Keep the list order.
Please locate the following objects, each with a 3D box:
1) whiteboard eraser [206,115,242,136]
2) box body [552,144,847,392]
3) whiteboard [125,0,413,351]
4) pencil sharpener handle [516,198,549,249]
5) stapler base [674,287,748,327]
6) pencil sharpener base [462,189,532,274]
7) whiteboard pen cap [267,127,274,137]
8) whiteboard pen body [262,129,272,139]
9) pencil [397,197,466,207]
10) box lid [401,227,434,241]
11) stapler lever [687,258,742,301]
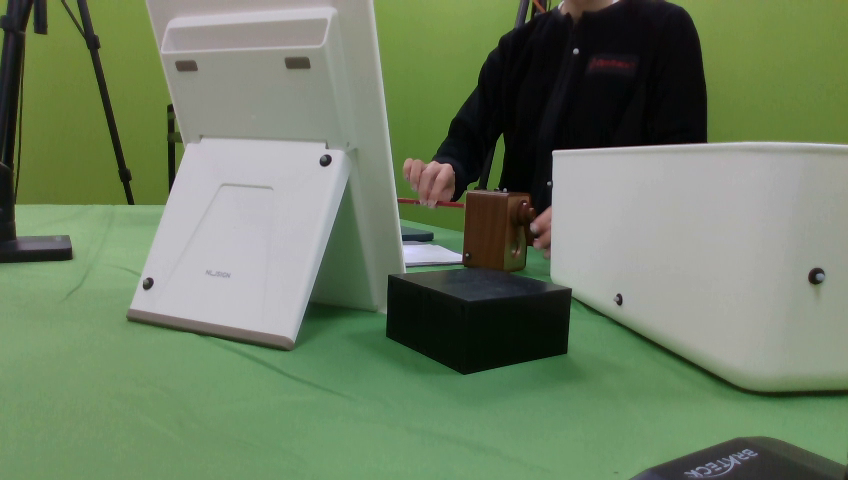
[{"bbox_3d":[-0.438,-0.249,1.320,0.056,0.042,0.112,-3,9,-30],"label":"whiteboard eraser"},{"bbox_3d":[0.290,0.002,0.549,0.255,0.160,0.363,2,7,-10],"label":"box body"},{"bbox_3d":[-0.151,-0.050,0.471,0.216,0.305,0.144,6,27,24],"label":"whiteboard"},{"bbox_3d":[0.144,-0.020,0.788,0.030,0.068,0.036,9,32,39],"label":"pencil sharpener handle"},{"bbox_3d":[0.281,0.061,0.586,0.041,0.024,0.131,11,9,37],"label":"stapler base"},{"bbox_3d":[0.101,-0.013,0.817,0.076,0.107,0.062,9,10,39],"label":"pencil sharpener base"},{"bbox_3d":[-0.340,-0.239,1.337,0.018,0.018,0.033,1,-1,-15],"label":"whiteboard pen cap"},{"bbox_3d":[-0.361,-0.245,1.393,0.017,0.017,0.140,0,5,-20],"label":"whiteboard pen body"},{"bbox_3d":[-0.002,-0.057,0.899,0.193,0.012,0.012,6,8,38],"label":"pencil"},{"bbox_3d":[-0.196,-0.015,1.105,0.373,0.015,0.262,-1,7,-32],"label":"box lid"},{"bbox_3d":[0.283,0.035,0.585,0.026,0.040,0.119,11,8,37],"label":"stapler lever"}]
